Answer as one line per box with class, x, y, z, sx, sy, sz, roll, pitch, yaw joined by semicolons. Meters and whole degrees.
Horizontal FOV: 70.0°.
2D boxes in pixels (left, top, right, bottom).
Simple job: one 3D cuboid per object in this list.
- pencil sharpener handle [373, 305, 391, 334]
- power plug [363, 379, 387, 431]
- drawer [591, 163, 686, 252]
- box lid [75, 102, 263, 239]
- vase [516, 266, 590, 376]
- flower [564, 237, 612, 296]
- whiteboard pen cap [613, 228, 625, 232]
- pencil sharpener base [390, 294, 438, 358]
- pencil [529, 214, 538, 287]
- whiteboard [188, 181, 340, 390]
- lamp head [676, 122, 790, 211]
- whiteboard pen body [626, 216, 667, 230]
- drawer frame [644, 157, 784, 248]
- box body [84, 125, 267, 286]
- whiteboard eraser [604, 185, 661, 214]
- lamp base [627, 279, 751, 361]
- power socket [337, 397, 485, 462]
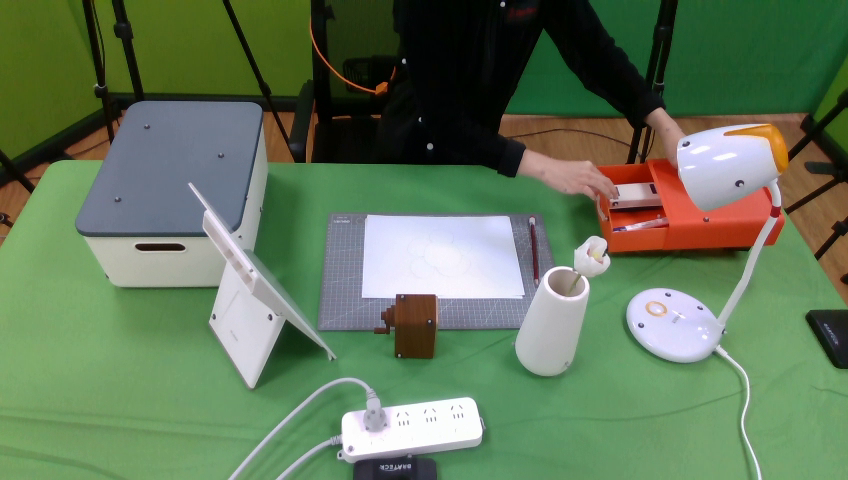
pencil sharpener handle;-0.069;0.133;0.989;0.030;0.068;0.036;1;47;-2
power plug;-0.072;0.252;0.910;0.035;0.053;0.072;3;44;-1
drawer;0.455;-0.072;1.213;0.212;0.073;0.193;-3;46;3
box lid;-0.443;-0.138;1.094;0.263;0.015;0.369;-1;47;-5
vase;0.208;0.132;0.965;0.098;0.201;0.097;3;46;-3
flower;0.206;0.088;0.893;0.038;0.363;0.044;-17;67;-9
whiteboard pen cap;0.382;-0.016;1.197;0.033;0.018;0.018;-4;47;-9
pencil sharpener base;-0.018;0.143;1.000;0.077;0.107;0.061;1;46;-2
pencil;0.219;0.019;1.202;0.012;0.012;0.193;5;48;1
whiteboard;-0.292;0.096;0.929;0.144;0.307;0.216;-38;57;-10
lamp head;0.423;-0.104;0.819;0.122;0.113;0.112;-13;33;40
whiteboard pen body;0.440;-0.028;1.202;0.141;0.017;0.017;-20;50;-8
drawer frame;0.558;-0.080;1.204;0.213;0.083;0.200;-2;46;4
box body;-0.446;-0.088;1.150;0.254;0.161;0.361;-1;46;-5
whiteboard eraser;0.428;-0.080;1.254;0.113;0.042;0.055;8;46;-6
lamp base;0.460;0.100;1.027;0.178;0.181;0.160;27;51;17
power socket;-0.018;0.285;0.915;0.227;0.033;0.071;-5;46;-8
